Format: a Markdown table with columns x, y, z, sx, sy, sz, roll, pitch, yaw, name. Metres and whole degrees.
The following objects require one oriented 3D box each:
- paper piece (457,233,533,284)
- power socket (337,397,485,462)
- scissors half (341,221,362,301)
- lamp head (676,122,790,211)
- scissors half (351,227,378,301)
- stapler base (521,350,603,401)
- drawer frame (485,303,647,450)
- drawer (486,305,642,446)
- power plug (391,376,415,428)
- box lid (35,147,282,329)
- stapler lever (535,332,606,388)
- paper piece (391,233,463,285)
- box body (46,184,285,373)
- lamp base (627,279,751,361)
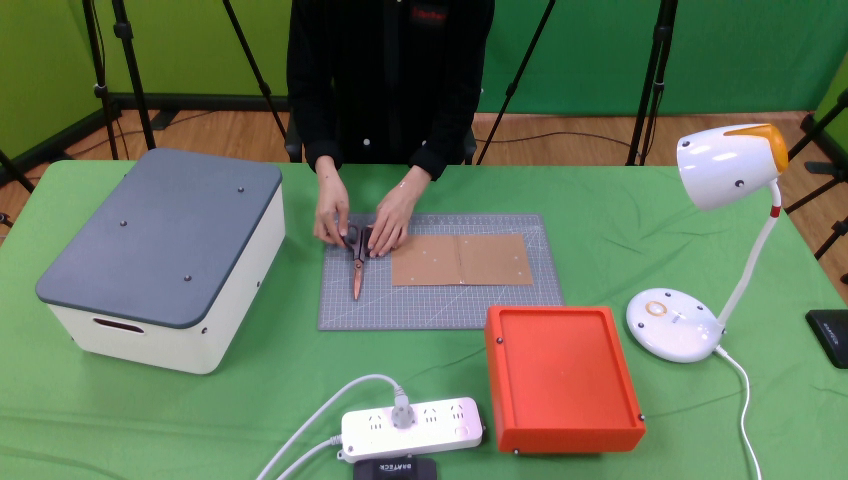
| x | y | z | sx | sy | sz | roll | pitch | yaw | name |
| --- | --- | --- | --- | --- | --- | --- | --- | --- | --- |
| 0.136 | 0.035 | 1.182 | 0.136 | 0.009 | 0.137 | 2 | 45 | -7 | paper piece |
| -0.018 | 0.285 | 0.915 | 0.227 | 0.033 | 0.071 | -4 | 46 | -8 | power socket |
| -0.134 | 0.037 | 1.139 | 0.040 | 0.013 | 0.174 | 12 | 53 | -29 | scissors half |
| 0.423 | -0.104 | 0.819 | 0.122 | 0.113 | 0.112 | -13 | 33 | 40 | lamp head |
| -0.117 | 0.045 | 1.148 | 0.040 | 0.013 | 0.174 | 31 | 45 | -20 | scissors half |
| 0.217 | 0.203 | 0.942 | 0.130 | 0.024 | 0.041 | 26 | 33 | 16 | stapler base |
| 0.204 | 0.202 | 0.917 | 0.202 | 0.083 | 0.212 | 1 | 47 | -4 | drawer frame |
| 0.202 | 0.200 | 0.919 | 0.195 | 0.073 | 0.210 | 2 | 47 | -4 | drawer |
| -0.031 | 0.249 | 0.917 | 0.035 | 0.053 | 0.072 | 3 | 46 | -1 | power plug |
| -0.411 | -0.023 | 0.987 | 0.263 | 0.015 | 0.369 | 10 | 47 | 5 | box lid |
| 0.225 | 0.181 | 0.928 | 0.118 | 0.040 | 0.027 | 27 | 34 | 15 | stapler lever |
| 0.004 | 0.035 | 1.170 | 0.135 | 0.004 | 0.135 | 1 | 46 | -4 | paper piece |
| -0.414 | 0.029 | 1.040 | 0.254 | 0.161 | 0.362 | 10 | 46 | 5 | box body |
| 0.460 | 0.100 | 1.027 | 0.178 | 0.181 | 0.160 | 27 | 51 | 17 | lamp base |
